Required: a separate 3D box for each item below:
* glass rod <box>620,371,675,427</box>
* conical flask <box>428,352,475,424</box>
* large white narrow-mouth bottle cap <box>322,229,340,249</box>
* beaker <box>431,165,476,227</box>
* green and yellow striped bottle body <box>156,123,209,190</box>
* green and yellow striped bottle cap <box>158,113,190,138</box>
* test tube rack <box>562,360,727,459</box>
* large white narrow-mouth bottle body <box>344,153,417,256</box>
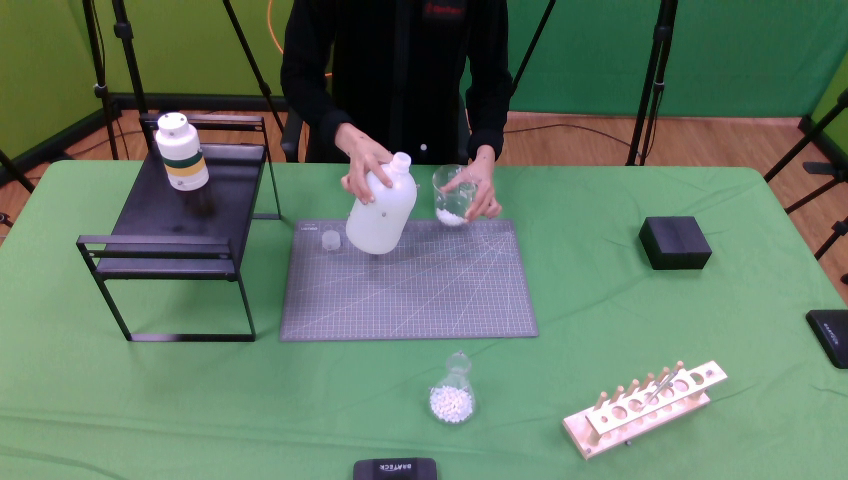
[{"bbox_3d":[0.316,0.230,0.863,0.008,0.200,0.008,3,54,-3],"label":"glass rod"},{"bbox_3d":[0.046,0.220,0.920,0.075,0.122,0.075,2,46,-2],"label":"conical flask"},{"bbox_3d":[-0.182,-0.003,1.184,0.038,0.024,0.037,3,45,-3],"label":"large white narrow-mouth bottle cap"},{"bbox_3d":[0.056,-0.077,1.125,0.084,0.101,0.074,21,58,17],"label":"beaker"},{"bbox_3d":[-0.395,-0.145,0.989,0.063,0.120,0.063,2,46,-2],"label":"green and yellow striped bottle body"},{"bbox_3d":[-0.393,-0.180,0.951,0.045,0.020,0.045,2,44,-2],"label":"green and yellow striped bottle cap"},{"bbox_3d":[0.341,0.247,0.940,0.243,0.085,0.066,-16,49,-18],"label":"test tube rack"},{"bbox_3d":[-0.069,-0.070,1.078,0.102,0.195,0.101,17,38,-13],"label":"large white narrow-mouth bottle body"}]
